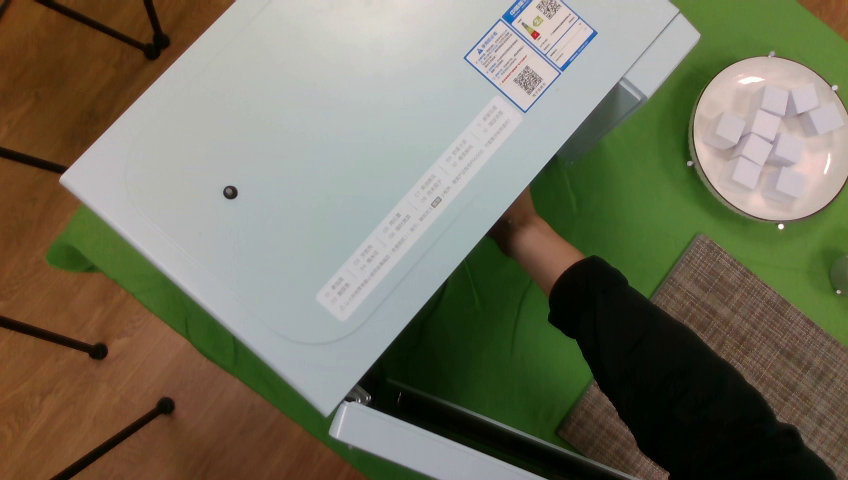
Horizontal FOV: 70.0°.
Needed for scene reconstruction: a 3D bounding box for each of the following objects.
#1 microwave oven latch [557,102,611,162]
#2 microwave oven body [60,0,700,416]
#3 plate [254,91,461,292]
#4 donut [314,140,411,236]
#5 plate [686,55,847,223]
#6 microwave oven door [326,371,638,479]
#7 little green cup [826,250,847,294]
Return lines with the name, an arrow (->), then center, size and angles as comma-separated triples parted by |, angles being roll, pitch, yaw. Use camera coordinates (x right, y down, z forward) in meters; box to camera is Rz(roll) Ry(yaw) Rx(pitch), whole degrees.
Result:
microwave oven latch -> 0.183, -0.130, 0.712 | 0.030, 0.029, 0.079 | 44, 83, 1
microwave oven body -> -0.039, -0.106, 0.597 | 0.326, 0.260, 0.441 | 41, 83, 1
plate -> -0.067, -0.049, 0.627 | 0.209, 0.038, 0.208 | 1, 83, -5
donut -> -0.062, -0.052, 0.616 | 0.099, 0.048, 0.099 | 1, 83, -4
plate -> 0.420, -0.121, 0.748 | 0.208, 0.039, 0.207 | 1, 84, -4
microwave oven door -> 0.088, 0.211, 0.569 | 0.356, 0.244, 0.039 | 22, 82, -1
little green cup -> 0.528, 0.039, 0.739 | 0.061, 0.038, 0.061 | 1, 83, -4
